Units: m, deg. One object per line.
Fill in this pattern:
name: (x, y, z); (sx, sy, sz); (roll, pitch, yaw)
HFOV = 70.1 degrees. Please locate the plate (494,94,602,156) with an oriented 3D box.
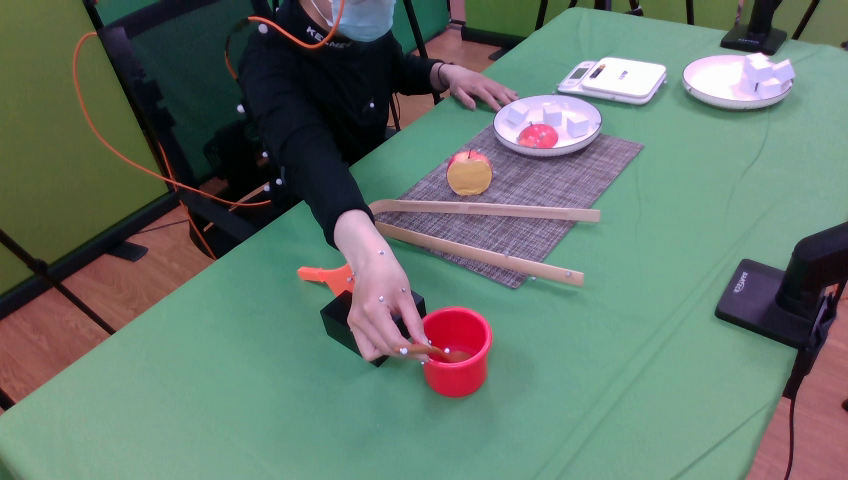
plate: (0.240, -0.220, 1.181); (0.209, 0.038, 0.208); (-4, 41, 4)

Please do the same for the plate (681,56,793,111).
plate: (0.636, -0.317, 1.239); (0.207, 0.039, 0.206); (-4, 40, 4)

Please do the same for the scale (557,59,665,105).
scale: (0.407, -0.348, 1.314); (0.199, 0.032, 0.149); (19, 47, 28)

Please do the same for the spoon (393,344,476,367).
spoon: (0.013, 0.132, 0.709); (0.041, 0.195, 0.021); (18, 83, 30)

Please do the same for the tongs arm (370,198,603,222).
tongs arm: (0.098, -0.048, 1.008); (0.386, 0.028, 0.028); (3, 46, 13)

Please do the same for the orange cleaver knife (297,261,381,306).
orange cleaver knife: (-0.126, 0.063, 0.875); (0.012, 0.077, 0.210); (-40, 20, -29)

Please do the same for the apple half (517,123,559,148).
apple half: (0.221, -0.207, 1.160); (0.081, 0.033, 0.081); (-6, 43, 6)

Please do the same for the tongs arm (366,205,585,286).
tongs arm: (0.067, 0.004, 0.951); (0.382, 0.026, 0.051); (13, 46, 23)

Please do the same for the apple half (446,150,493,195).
apple half: (0.080, -0.123, 1.065); (0.081, 0.075, 0.053); (-7, 37, 7)
